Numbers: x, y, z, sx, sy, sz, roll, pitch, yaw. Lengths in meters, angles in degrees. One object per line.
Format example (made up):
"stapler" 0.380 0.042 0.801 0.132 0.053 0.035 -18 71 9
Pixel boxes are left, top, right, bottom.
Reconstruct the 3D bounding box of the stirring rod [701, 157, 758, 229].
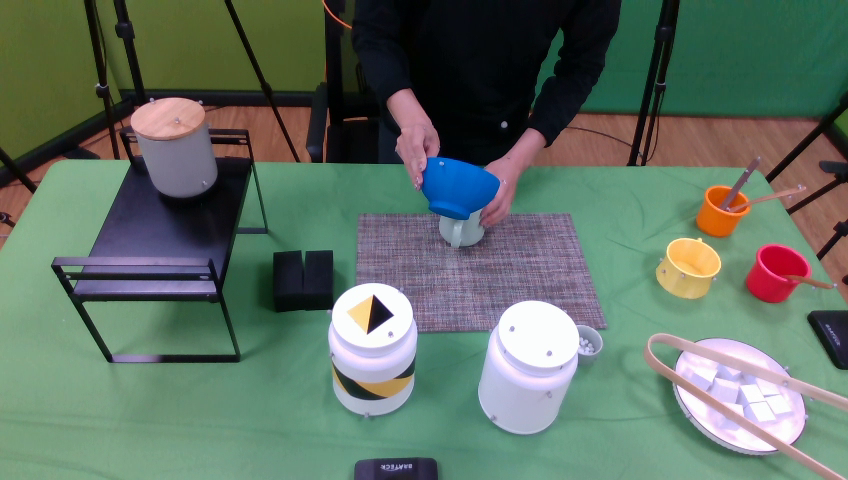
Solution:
"stirring rod" 0.634 -0.096 1.257 0.014 0.006 0.176 38 97 30

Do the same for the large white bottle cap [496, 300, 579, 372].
"large white bottle cap" 0.160 0.133 0.852 0.115 0.018 0.114 3 46 -2

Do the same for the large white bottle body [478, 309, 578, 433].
"large white bottle body" 0.156 0.192 0.913 0.131 0.185 0.130 2 46 -2

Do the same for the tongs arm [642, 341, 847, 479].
"tongs arm" 0.504 0.278 0.918 0.386 0.028 0.028 34 59 22

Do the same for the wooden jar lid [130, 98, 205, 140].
"wooden jar lid" -0.393 -0.183 0.934 0.108 0.021 0.107 3 43 -2

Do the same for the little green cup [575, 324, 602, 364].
"little green cup" 0.269 0.180 1.036 0.061 0.039 0.061 2 45 -2

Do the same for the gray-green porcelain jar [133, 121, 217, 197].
"gray-green porcelain jar" -0.397 -0.141 0.980 0.106 0.127 0.105 2 47 -2

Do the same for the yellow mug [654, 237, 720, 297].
"yellow mug" 0.509 0.041 1.167 0.099 0.064 0.130 24 48 18

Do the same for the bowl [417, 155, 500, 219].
"bowl" 0.051 -0.084 1.061 0.151 0.152 0.076 15 82 9

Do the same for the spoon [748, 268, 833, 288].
"spoon" 0.660 0.068 1.097 0.041 0.193 0.021 -4 91 -6

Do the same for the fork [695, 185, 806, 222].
"fork" 0.658 -0.074 1.230 0.207 0.019 0.028 -23 36 37

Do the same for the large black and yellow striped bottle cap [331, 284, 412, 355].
"large black and yellow striped bottle cap" -0.073 0.110 0.858 0.115 0.019 0.114 2 46 -2

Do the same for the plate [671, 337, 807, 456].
"plate" 0.504 0.254 0.984 0.208 0.039 0.206 2 46 -2

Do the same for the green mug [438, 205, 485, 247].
"green mug" 0.072 -0.039 1.178 0.092 0.105 0.124 12 47 7

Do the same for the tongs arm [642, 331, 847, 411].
"tongs arm" 0.546 0.227 0.968 0.384 0.026 0.050 22 52 13

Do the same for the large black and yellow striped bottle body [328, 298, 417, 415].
"large black and yellow striped bottle body" -0.078 0.167 0.920 0.131 0.185 0.130 2 46 -2
